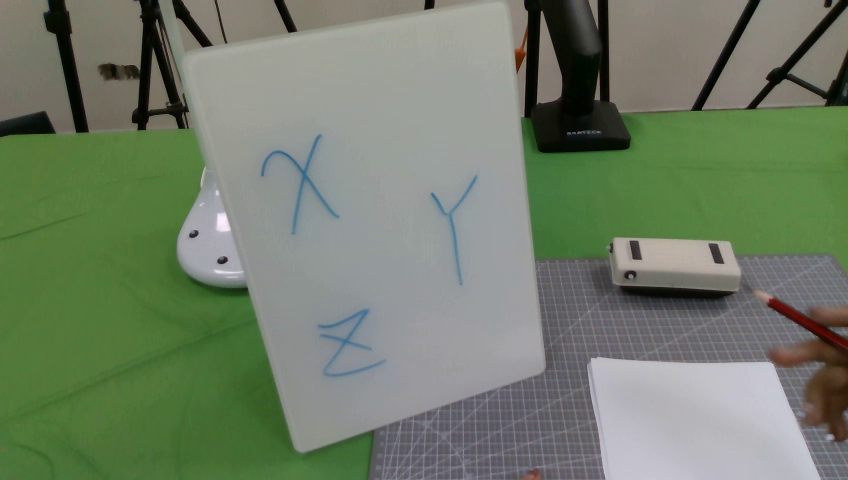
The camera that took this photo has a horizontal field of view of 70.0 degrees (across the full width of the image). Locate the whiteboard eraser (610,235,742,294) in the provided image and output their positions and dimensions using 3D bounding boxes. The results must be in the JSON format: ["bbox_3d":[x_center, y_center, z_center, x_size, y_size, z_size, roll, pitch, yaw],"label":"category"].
[{"bbox_3d":[0.240,0.024,0.585,0.112,0.042,0.055,3,41,8],"label":"whiteboard eraser"}]

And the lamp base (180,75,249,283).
[{"bbox_3d":[-0.202,-0.072,0.632,0.177,0.182,0.160,27,49,36],"label":"lamp base"}]

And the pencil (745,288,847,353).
[{"bbox_3d":[0.265,0.077,0.331,0.012,0.012,0.192,-27,44,-26],"label":"pencil"}]

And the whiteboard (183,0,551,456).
[{"bbox_3d":[-0.037,-0.019,0.501,0.217,0.307,0.142,-15,21,-12],"label":"whiteboard"}]
